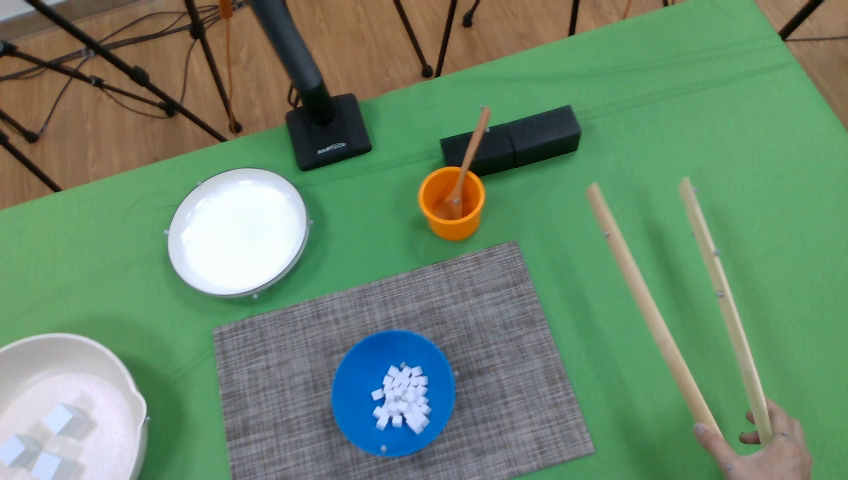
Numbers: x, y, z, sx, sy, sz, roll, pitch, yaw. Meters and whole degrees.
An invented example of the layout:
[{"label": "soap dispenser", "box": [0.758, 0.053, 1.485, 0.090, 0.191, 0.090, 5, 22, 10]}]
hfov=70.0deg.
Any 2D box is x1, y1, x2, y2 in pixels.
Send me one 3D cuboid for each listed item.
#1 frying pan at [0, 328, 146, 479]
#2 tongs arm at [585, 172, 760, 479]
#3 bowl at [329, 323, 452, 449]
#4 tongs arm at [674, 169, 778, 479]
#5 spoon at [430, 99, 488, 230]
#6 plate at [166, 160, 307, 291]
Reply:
[{"label": "frying pan", "box": [-0.462, 0.344, 0.722, 0.307, 0.104, 0.482, -18, 58, -2]}, {"label": "tongs arm", "box": [0.271, 0.085, 0.700, 0.028, 0.028, 0.384, -9, 65, -23]}, {"label": "bowl", "box": [-0.037, 0.187, 0.758, 0.151, 0.077, 0.150, -2, 67, 4]}, {"label": "tongs arm", "box": [0.342, 0.080, 0.720, 0.051, 0.026, 0.381, 0, 63, -15]}, {"label": "spoon", "box": [0.052, -0.101, 0.839, 0.041, 0.194, 0.021, 30, 28, 20]}, {"label": "plate", "box": [-0.272, -0.020, 0.896, 0.207, 0.039, 0.206, -2, 67, 5]}]
